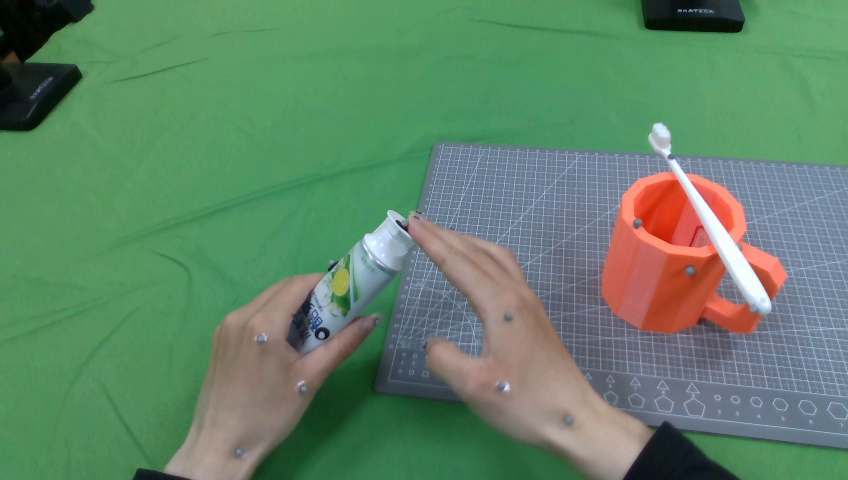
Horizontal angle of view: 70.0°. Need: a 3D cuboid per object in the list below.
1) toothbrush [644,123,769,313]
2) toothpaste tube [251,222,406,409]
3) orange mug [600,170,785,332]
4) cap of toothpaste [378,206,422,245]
[{"bbox_3d":[0.197,-0.024,0.431,0.014,0.017,0.180,-6,49,-5],"label":"toothbrush"},{"bbox_3d":[-0.070,0.047,0.433,0.165,0.035,0.054,-48,46,16],"label":"toothpaste tube"},{"bbox_3d":[0.202,0.017,0.465,0.125,0.102,0.083,29,57,31],"label":"orange mug"},{"bbox_3d":[-0.017,-0.009,0.410,0.011,0.038,0.037,-50,54,10],"label":"cap of toothpaste"}]
